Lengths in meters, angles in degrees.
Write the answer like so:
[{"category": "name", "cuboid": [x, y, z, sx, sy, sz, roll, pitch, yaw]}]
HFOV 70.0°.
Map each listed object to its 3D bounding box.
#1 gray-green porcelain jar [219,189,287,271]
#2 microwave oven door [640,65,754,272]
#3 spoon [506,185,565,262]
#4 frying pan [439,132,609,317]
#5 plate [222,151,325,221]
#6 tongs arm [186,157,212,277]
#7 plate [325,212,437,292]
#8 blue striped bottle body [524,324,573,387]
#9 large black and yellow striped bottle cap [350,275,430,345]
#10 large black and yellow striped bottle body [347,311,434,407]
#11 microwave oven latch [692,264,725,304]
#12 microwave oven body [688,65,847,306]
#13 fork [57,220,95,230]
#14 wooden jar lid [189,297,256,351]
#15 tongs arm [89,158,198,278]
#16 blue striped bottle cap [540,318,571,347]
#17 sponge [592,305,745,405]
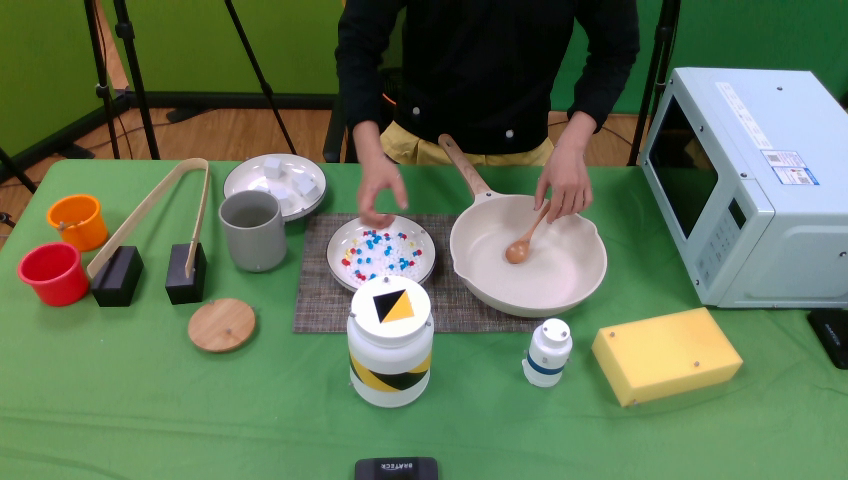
[{"category": "gray-green porcelain jar", "cuboid": [-0.310, -0.014, 1.113, 0.106, 0.127, 0.105, 2, 46, -2]}, {"category": "microwave oven door", "cuboid": [0.524, -0.148, 1.193, 0.039, 0.245, 0.353, 0, 47, -3]}, {"category": "spoon", "cuboid": [0.224, -0.034, 1.188, 0.041, 0.022, 0.193, 30, 78, 29]}, {"category": "frying pan", "cuboid": [0.149, -0.049, 1.190, 0.307, 0.103, 0.484, -17, 58, -20]}, {"category": "plate", "cuboid": [-0.310, -0.106, 1.263, 0.208, 0.039, 0.206, 2, 47, -2]}, {"category": "tongs arm", "cuboid": [-0.445, -0.058, 1.168, 0.051, 0.026, 0.382, -5, 37, -6]}, {"category": "plate", "cuboid": [-0.080, 0.030, 1.143, 0.209, 0.038, 0.208, 3, 46, -2]}, {"category": "blue striped bottle body", "cuboid": [0.200, 0.178, 0.970, 0.063, 0.121, 0.062, 2, 46, -2]}, {"category": "large black and yellow striped bottle cap", "cuboid": [-0.048, 0.097, 0.868, 0.115, 0.019, 0.114, 3, 48, -3]}, {"category": "large black and yellow striped bottle body", "cuboid": [-0.052, 0.157, 0.929, 0.131, 0.185, 0.130, 2, 47, -2]}, {"category": "microwave oven latch", "cuboid": [0.522, 0.081, 1.116, 0.030, 0.029, 0.078, 1, 46, -2]}, {"category": "microwave oven body", "cuboid": [0.669, -0.111, 1.176, 0.326, 0.261, 0.439, 0, 46, -3]}, {"category": "fork", "cuboid": [-0.624, -0.027, 1.086, 0.028, 0.207, 0.018, -3, 92, -17]}, {"category": "wooden jar lid", "cuboid": [-0.342, 0.145, 1.033, 0.108, 0.021, 0.107, 2, 45, -2]}, {"category": "tongs arm", "cuboid": [-0.529, -0.057, 1.164, 0.028, 0.028, 0.385, 1, 36, 8]}, {"category": "blue striped bottle cap", "cuboid": [0.203, 0.142, 0.933, 0.044, 0.021, 0.044, 3, 49, -4]}, {"category": "sponge", "cuboid": [0.405, 0.190, 1.014, 0.207, 0.061, 0.117, -10, 48, -13]}]
